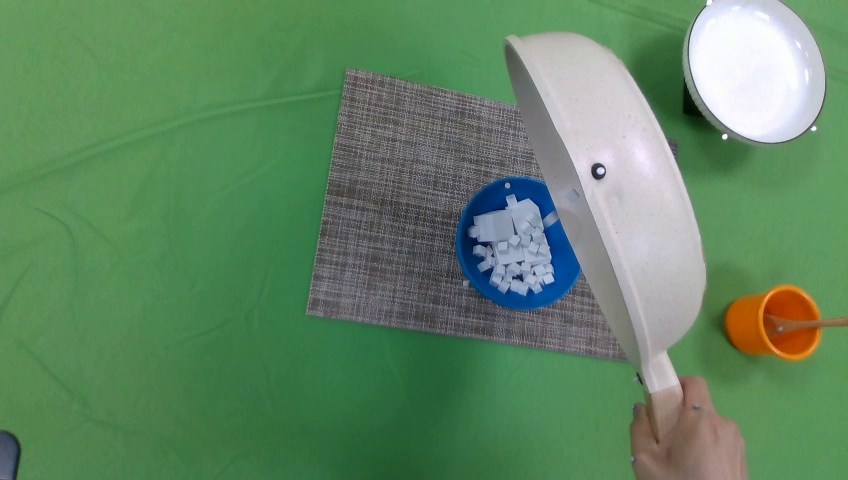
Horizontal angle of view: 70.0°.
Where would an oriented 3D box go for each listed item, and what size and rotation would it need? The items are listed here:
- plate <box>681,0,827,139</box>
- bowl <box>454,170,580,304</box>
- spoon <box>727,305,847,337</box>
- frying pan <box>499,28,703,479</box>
[{"bbox_3d":[0.423,-0.228,0.788,0.208,0.039,0.207,2,82,-12],"label":"plate"},{"bbox_3d":[0.100,0.002,0.700,0.152,0.077,0.151,2,80,-12],"label":"bowl"},{"bbox_3d":[0.479,0.094,0.743,0.022,0.193,0.041,6,76,-57],"label":"spoon"},{"bbox_3d":[0.170,0.055,0.498,0.102,0.308,0.486,-14,83,11],"label":"frying pan"}]
